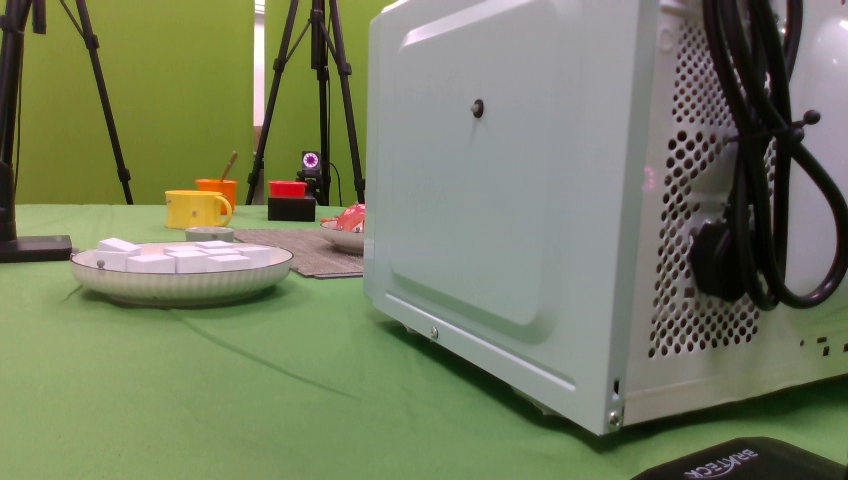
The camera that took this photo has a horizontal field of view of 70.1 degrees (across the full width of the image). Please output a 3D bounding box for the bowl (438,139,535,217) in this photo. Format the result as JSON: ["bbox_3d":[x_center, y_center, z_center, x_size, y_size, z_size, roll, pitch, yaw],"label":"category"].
[{"bbox_3d":[0.103,-0.085,0.924,0.151,0.076,0.151,-12,-15,-3],"label":"bowl"}]

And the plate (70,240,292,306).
[{"bbox_3d":[-0.242,0.032,0.618,0.208,0.039,0.207,2,8,0],"label":"plate"}]

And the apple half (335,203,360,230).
[{"bbox_3d":[-0.116,-0.038,0.959,0.081,0.033,0.081,-38,8,7],"label":"apple half"}]

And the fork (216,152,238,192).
[{"bbox_3d":[-0.455,-0.132,1.367,0.028,0.018,0.207,-2,-35,-37],"label":"fork"}]

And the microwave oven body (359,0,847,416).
[{"bbox_3d":[0.211,-0.047,0.474,0.444,0.260,0.324,-1,7,-28],"label":"microwave oven body"}]

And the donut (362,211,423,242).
[{"bbox_3d":[-0.050,-0.020,0.958,0.099,0.048,0.099,2,6,0],"label":"donut"}]

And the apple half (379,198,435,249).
[{"bbox_3d":[-0.020,-0.030,0.891,0.081,0.053,0.074,-2,49,-26],"label":"apple half"}]

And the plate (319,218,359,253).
[{"bbox_3d":[-0.059,-0.007,0.939,0.209,0.038,0.209,3,8,0],"label":"plate"}]

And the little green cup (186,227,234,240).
[{"bbox_3d":[-0.285,0.005,0.805,0.061,0.038,0.061,2,8,0],"label":"little green cup"}]

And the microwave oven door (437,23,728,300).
[{"bbox_3d":[0.181,-0.072,0.621,0.358,0.243,0.039,-2,8,-29],"label":"microwave oven door"}]

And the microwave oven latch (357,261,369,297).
[{"bbox_3d":[-0.019,0.033,0.531,0.079,0.029,0.030,-1,7,-27],"label":"microwave oven latch"}]

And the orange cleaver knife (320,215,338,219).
[{"bbox_3d":[-0.142,-0.057,1.394,0.077,0.012,0.212,3,7,44],"label":"orange cleaver knife"}]

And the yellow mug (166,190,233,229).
[{"bbox_3d":[-0.415,-0.057,1.132,0.130,0.064,0.100,6,8,16],"label":"yellow mug"}]

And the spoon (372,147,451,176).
[{"bbox_3d":[-0.027,-0.147,1.092,0.193,0.021,0.042,26,49,38],"label":"spoon"}]
